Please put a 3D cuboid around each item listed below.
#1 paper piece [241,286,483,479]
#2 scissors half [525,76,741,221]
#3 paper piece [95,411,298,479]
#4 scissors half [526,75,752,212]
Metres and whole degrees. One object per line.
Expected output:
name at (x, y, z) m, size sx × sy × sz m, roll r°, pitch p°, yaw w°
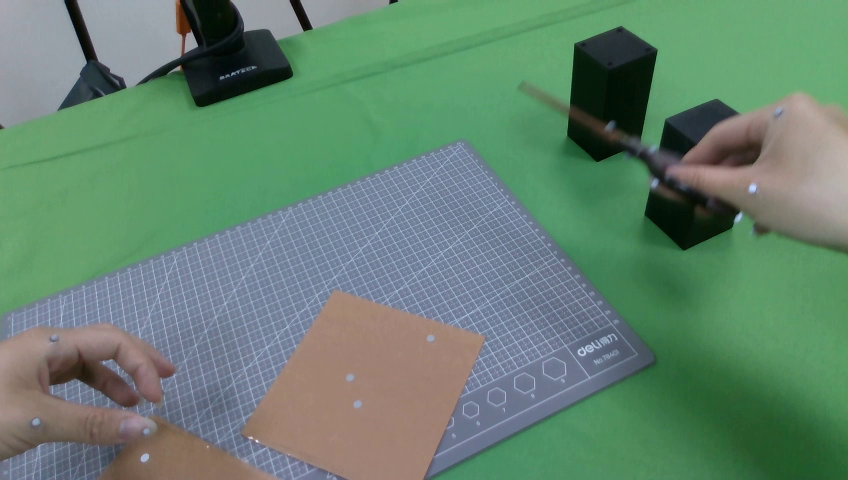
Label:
paper piece at (-0.041, 0.101, 0.439) m, size 0.134 × 0.004 × 0.135 m, roll 15°, pitch 52°, yaw 21°
scissors half at (0.129, -0.067, 0.398) m, size 0.040 × 0.013 × 0.173 m, roll -5°, pitch 41°, yaw -47°
paper piece at (-0.169, 0.188, 0.381) m, size 0.135 × 0.009 × 0.137 m, roll 16°, pitch 52°, yaw 25°
scissors half at (0.141, -0.071, 0.414) m, size 0.174 × 0.013 × 0.040 m, roll 35°, pitch 33°, yaw 16°
